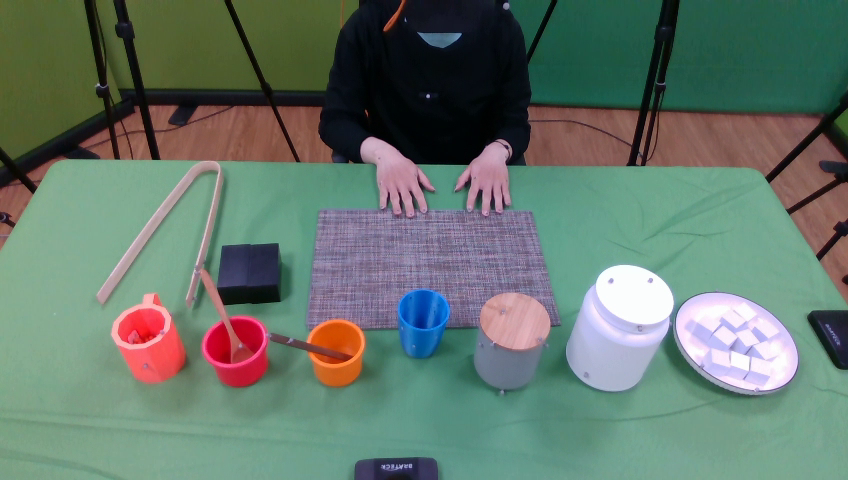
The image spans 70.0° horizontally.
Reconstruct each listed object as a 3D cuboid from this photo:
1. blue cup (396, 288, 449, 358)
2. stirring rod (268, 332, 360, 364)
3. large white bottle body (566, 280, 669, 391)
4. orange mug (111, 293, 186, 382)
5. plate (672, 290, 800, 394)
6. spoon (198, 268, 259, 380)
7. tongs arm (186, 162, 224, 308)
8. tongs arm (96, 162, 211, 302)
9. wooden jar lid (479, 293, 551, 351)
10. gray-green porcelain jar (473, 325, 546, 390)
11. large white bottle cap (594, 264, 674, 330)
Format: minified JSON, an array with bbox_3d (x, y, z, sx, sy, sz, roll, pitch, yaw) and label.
[{"bbox_3d":[-0.006,0.144,1.002,0.093,0.101,0.092,3,46,-3],"label":"blue cup"},{"bbox_3d":[-0.167,0.169,0.942,0.177,0.006,0.014,26,27,-41],"label":"stirring rod"},{"bbox_3d":[0.310,0.142,0.968,0.131,0.185,0.130,2,46,-2],"label":"large white bottle body"},{"bbox_3d":[-0.435,0.149,0.969,0.083,0.101,0.125,-5,51,-9],"label":"orange mug"},{"bbox_3d":[0.533,0.178,1.050,0.208,0.039,0.206,2,46,-2],"label":"plate"},{"bbox_3d":[-0.312,0.132,0.962,0.041,0.021,0.194,-24,96,-22],"label":"spoon"},{"bbox_3d":[-0.435,-0.025,1.181,0.051,0.026,0.382,-1,45,-1],"label":"tongs arm"},{"bbox_3d":[-0.519,-0.031,1.181,0.028,0.028,0.385,7,45,11],"label":"tongs arm"},{"bbox_3d":[0.138,0.127,0.925,0.108,0.021,0.107,1,47,0],"label":"wooden jar lid"},{"bbox_3d":[0.135,0.170,0.969,0.106,0.127,0.105,2,46,-2],"label":"gray-green porcelain jar"},{"bbox_3d":[0.314,0.083,0.906,0.115,0.018,0.114,2,46,-2],"label":"large white bottle cap"}]
